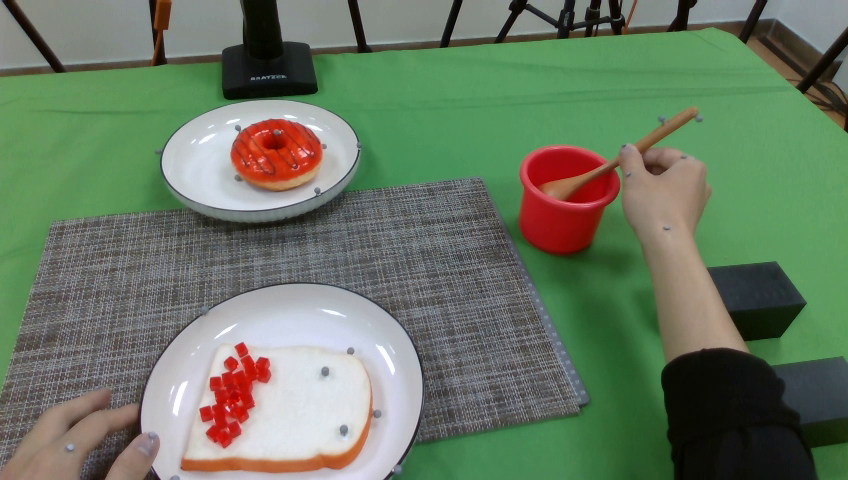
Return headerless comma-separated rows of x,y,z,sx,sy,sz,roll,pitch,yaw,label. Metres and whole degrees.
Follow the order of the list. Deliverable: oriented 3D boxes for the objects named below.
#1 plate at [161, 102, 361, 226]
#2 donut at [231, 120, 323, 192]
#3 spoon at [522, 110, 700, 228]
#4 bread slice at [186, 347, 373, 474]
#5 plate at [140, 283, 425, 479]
-0.174,-0.082,0.664,0.208,0.039,0.205,2,43,-2,plate
-0.159,-0.091,0.658,0.099,0.048,0.098,3,46,-3,donut
0.176,-0.069,0.592,0.193,0.022,0.041,-31,49,21,spoon
-0.105,0.127,0.465,0.131,0.019,0.104,1,45,0,bread slice
-0.103,0.122,0.465,0.209,0.038,0.207,2,45,-2,plate
